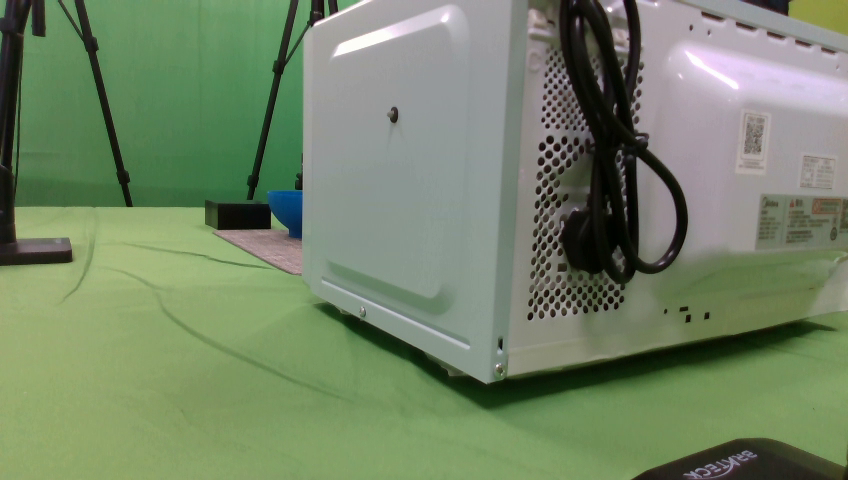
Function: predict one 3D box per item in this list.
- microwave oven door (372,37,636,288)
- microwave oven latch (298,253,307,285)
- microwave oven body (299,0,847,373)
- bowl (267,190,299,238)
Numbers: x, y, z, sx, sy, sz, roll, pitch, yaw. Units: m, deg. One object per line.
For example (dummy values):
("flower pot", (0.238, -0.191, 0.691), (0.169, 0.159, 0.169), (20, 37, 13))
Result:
("microwave oven door", (0.110, -0.080, 0.686), (0.358, 0.243, 0.039), (-2, 9, -33))
("microwave oven latch", (-0.081, 0.027, 0.582), (0.079, 0.029, 0.030), (-1, 7, -32))
("microwave oven body", (0.151, -0.055, 0.543), (0.444, 0.260, 0.324), (-2, 8, -33))
("bowl", (-0.202, -0.046, 1.070), (0.151, 0.077, 0.151), (3, 7, 0))
